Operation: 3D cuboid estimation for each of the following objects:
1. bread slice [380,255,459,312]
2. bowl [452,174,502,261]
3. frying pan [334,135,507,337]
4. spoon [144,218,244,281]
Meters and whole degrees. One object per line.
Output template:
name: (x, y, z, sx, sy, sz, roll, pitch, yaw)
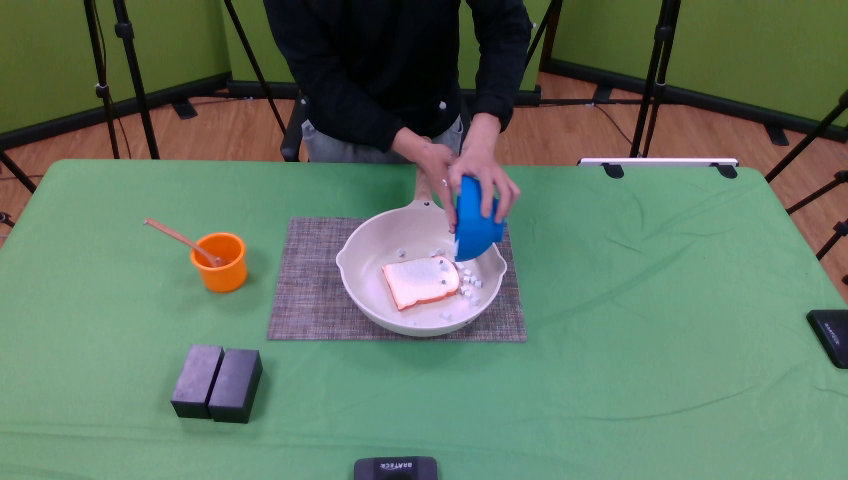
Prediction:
bread slice: (-0.005, 0.075, 1.119, 0.134, 0.018, 0.106, -16, 50, -16)
bowl: (0.090, -0.035, 1.030, 0.077, 0.152, 0.150, 3, 46, 1)
frying pan: (-0.004, -0.026, 1.160, 0.307, 0.103, 0.485, 4, 55, -2)
spoon: (-0.401, 0.016, 1.064, 0.195, 0.021, 0.041, 41, 36, -29)
